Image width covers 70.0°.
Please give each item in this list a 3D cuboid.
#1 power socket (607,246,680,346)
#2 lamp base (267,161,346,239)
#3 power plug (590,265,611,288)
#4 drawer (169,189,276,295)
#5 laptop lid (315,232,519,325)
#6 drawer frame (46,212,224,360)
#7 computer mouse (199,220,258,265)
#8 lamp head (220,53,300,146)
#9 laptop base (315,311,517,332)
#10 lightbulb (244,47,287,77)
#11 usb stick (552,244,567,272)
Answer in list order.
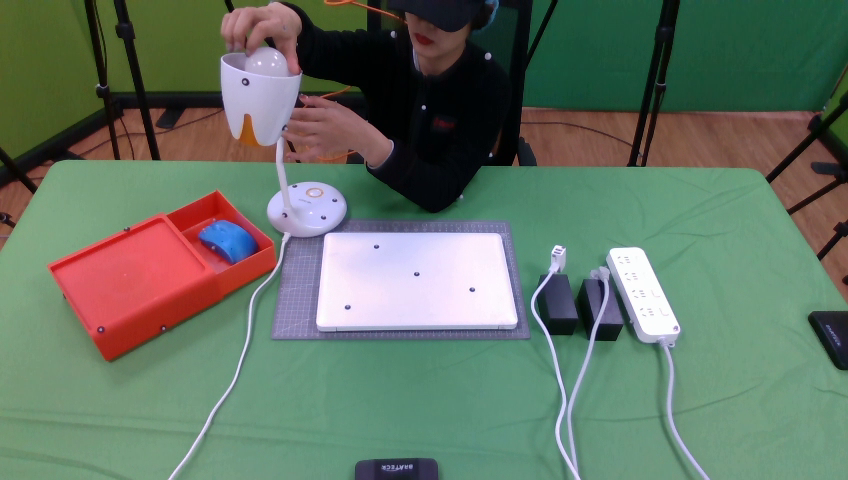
[{"bbox_3d":[0.403,0.096,1.123,0.072,0.033,0.225,-3,46,-5],"label":"power socket"},{"bbox_3d":[-0.241,-0.110,1.175,0.160,0.181,0.178,11,49,9],"label":"lamp base"},{"bbox_3d":[0.318,0.073,1.108,0.035,0.053,0.072,26,33,13],"label":"power plug"},{"bbox_3d":[-0.413,0.022,1.108,0.212,0.073,0.193,-33,57,-30],"label":"drawer"},{"bbox_3d":[-0.015,0.065,1.118,0.357,0.013,0.240,1,43,-3],"label":"laptop lid"},{"bbox_3d":[-0.495,0.071,1.050,0.213,0.083,0.200,-32,56,-29],"label":"drawer frame"},{"bbox_3d":[-0.374,-0.001,1.153,0.116,0.041,0.063,30,52,28],"label":"computer mouse"},{"bbox_3d":[-0.243,-0.203,0.889,0.112,0.123,0.112,11,33,-7],"label":"lamp head"},{"bbox_3d":[-0.016,0.075,1.125,0.355,0.023,0.234,0,42,-4],"label":"laptop base"},{"bbox_3d":[-0.231,-0.223,0.869,0.059,0.108,0.059,16,30,-9],"label":"lightbulb"},{"bbox_3d":[0.251,0.039,1.123,0.021,0.059,0.027,14,47,24],"label":"usb stick"}]
